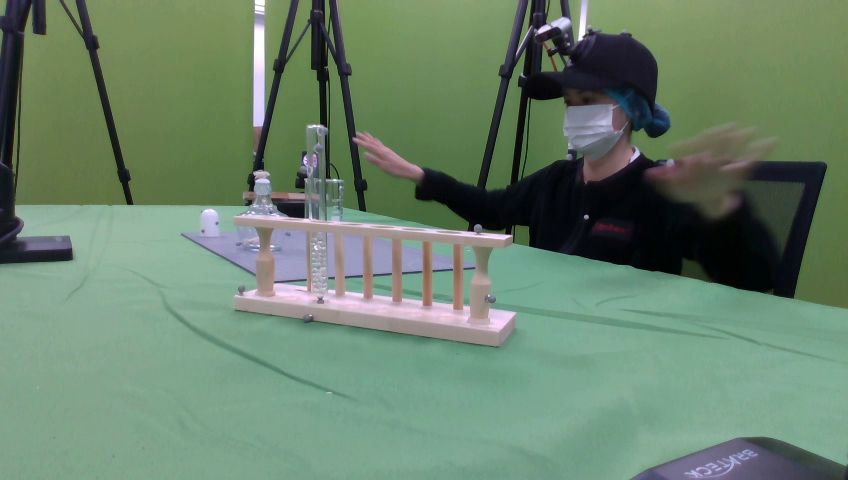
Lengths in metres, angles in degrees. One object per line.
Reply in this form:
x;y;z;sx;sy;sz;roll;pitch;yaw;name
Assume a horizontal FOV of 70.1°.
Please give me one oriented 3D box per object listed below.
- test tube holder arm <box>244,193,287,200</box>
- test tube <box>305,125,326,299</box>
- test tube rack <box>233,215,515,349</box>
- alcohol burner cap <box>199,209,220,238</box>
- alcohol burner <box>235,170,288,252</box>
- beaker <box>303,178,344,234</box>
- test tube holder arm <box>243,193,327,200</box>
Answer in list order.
-0.322;-0.089;1.232;0.088;0.015;0.010;-2;3;-32;test tube holder arm
-0.093;-0.023;0.520;0.017;0.150;0.017;0;7;0;test tube
-0.045;0.029;0.526;0.241;0.085;0.067;5;8;19;test tube rack
-0.356;-0.027;1.002;0.034;0.048;0.034;2;7;0;alcohol burner cap
-0.236;-0.042;0.882;0.078;0.119;0.078;2;9;0;alcohol burner
-0.189;-0.063;1.119;0.073;0.100;0.084;6;9;28;beaker
-0.287;-0.091;1.262;0.179;0.015;0.013;-2;3;-33;test tube holder arm
